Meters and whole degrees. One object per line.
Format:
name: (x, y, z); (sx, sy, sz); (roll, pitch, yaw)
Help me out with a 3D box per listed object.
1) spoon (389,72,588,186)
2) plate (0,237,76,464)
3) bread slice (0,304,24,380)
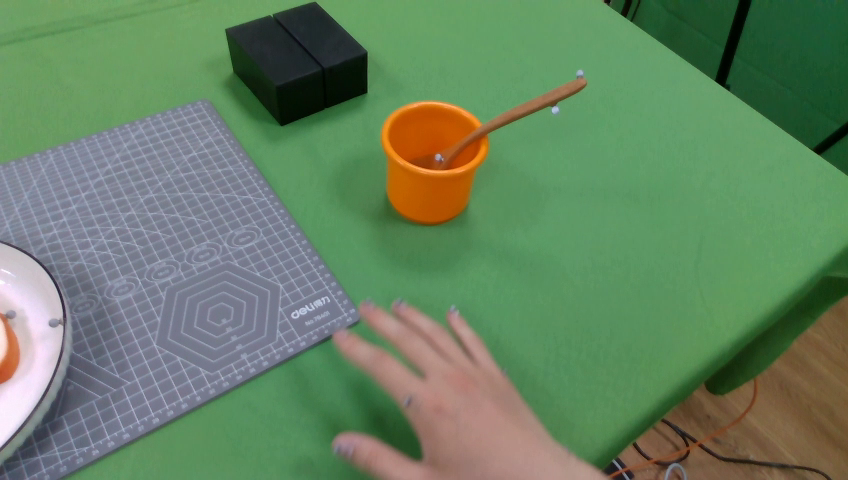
spoon: (0.048, -0.092, 0.512); (0.022, 0.193, 0.041); (40, 39, -32)
plate: (-0.339, 0.086, 0.398); (0.209, 0.038, 0.207); (4, 53, -5)
bread slice: (-0.345, 0.085, 0.401); (0.104, 0.019, 0.131); (37, 59, 19)
